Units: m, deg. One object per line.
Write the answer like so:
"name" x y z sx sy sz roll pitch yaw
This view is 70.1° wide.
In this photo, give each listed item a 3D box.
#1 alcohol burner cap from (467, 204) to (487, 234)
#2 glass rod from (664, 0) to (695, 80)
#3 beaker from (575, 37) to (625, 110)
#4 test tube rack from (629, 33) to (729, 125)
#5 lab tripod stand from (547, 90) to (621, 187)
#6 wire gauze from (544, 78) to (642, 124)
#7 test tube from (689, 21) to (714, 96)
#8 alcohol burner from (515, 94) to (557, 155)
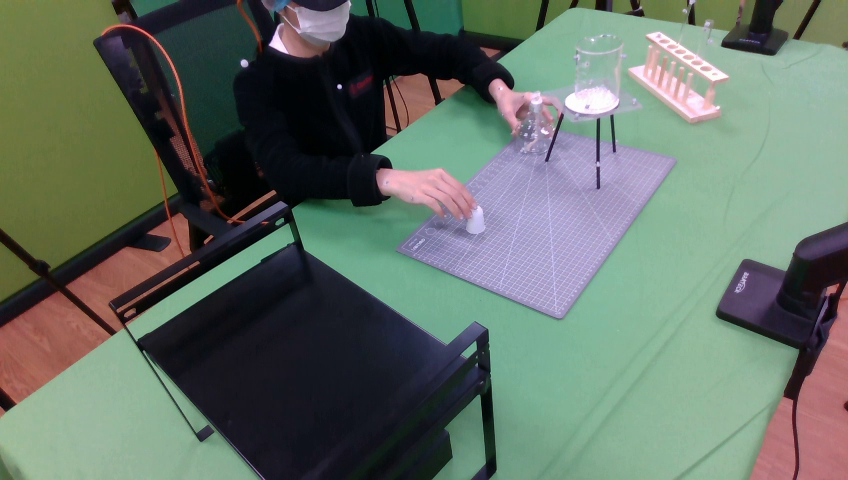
"alcohol burner cap" 0.085 -0.037 0.993 0.034 0.048 0.033 -4 41 4
"glass rod" 0.523 -0.415 1.235 0.008 0.200 0.008 1 46 0
"beaker" 0.283 -0.271 0.988 0.074 0.101 0.083 -10 39 1
"test tube rack" 0.516 -0.337 1.247 0.067 0.085 0.240 -14 41 -7
"lab tripod stand" 0.289 -0.184 1.062 0.148 0.132 0.147 -6 41 6
"wire gauze" 0.282 -0.234 1.021 0.125 0.011 0.120 -17 38 -4
"test tube" 0.541 -0.353 1.184 0.017 0.151 0.017 -2 40 2
"alcohol burner" 0.210 -0.221 1.135 0.078 0.119 0.077 -4 43 4
